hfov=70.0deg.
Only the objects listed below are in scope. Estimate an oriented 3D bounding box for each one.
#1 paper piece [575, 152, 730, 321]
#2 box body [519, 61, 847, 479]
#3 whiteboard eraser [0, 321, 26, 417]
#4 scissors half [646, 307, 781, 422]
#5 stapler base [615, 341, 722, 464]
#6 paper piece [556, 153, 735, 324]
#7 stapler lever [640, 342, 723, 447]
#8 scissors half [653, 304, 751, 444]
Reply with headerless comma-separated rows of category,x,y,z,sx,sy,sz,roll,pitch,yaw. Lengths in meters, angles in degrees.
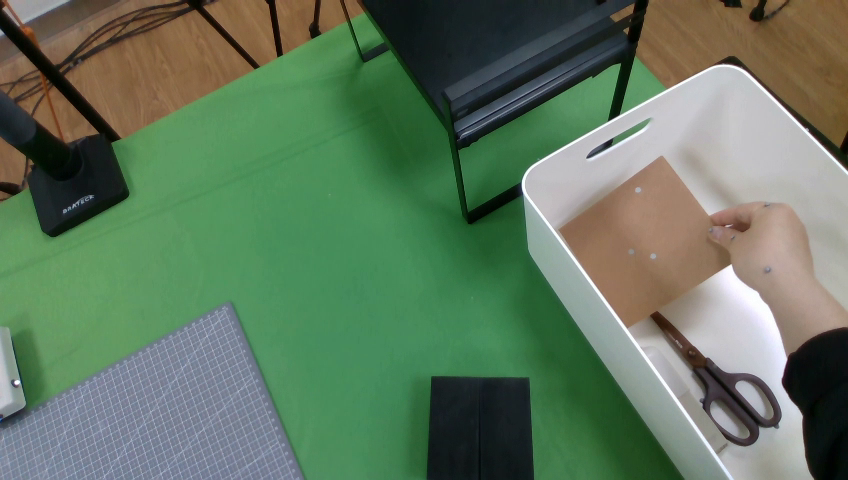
paper piece,0.239,-0.002,0.659,0.009,0.136,0.137,2,55,-37
box body,0.288,0.044,0.590,0.254,0.162,0.361,-29,66,-5
whiteboard eraser,-0.513,0.155,0.720,0.055,0.042,0.111,-30,67,-4
scissors half,0.294,0.119,0.634,0.040,0.013,0.173,-40,64,-16
stapler base,0.249,0.161,0.619,0.041,0.024,0.129,-32,70,-4
paper piece,0.227,-0.001,0.642,0.135,0.004,0.134,-39,65,24
stapler lever,0.247,0.153,0.594,0.027,0.040,0.117,-32,70,-4
scissors half,0.276,0.129,0.632,0.040,0.013,0.173,-22,61,-1
